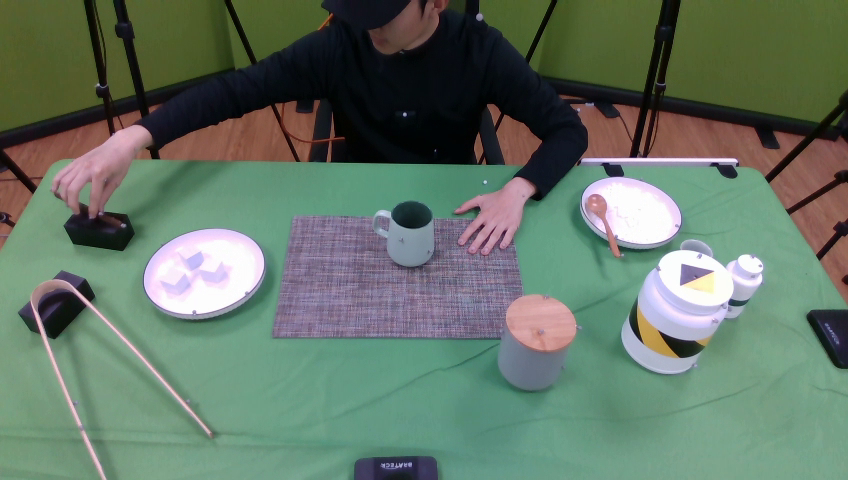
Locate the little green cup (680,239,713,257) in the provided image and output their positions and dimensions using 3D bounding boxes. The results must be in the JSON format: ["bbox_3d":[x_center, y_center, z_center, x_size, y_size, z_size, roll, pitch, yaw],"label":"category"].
[{"bbox_3d":[0.530,0.033,1.189,0.061,0.039,0.061,2,48,-3],"label":"little green cup"}]

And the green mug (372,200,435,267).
[{"bbox_3d":[-0.040,-0.016,1.146,0.125,0.105,0.092,17,48,13],"label":"green mug"}]

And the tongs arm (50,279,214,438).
[{"bbox_3d":[-0.459,0.178,0.949,0.386,0.028,0.028,37,60,17],"label":"tongs arm"}]

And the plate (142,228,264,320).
[{"bbox_3d":[-0.394,0.064,1.095,0.208,0.039,0.206,2,46,-2],"label":"plate"}]

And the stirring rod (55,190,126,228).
[{"bbox_3d":[-0.630,-0.059,1.142,0.175,0.014,0.006,22,44,17],"label":"stirring rod"}]

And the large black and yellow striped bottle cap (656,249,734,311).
[{"bbox_3d":[0.419,0.061,0.938,0.115,0.019,0.114,2,47,-2],"label":"large black and yellow striped bottle cap"}]

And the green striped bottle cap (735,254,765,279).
[{"bbox_3d":[0.566,0.046,1.051,0.044,0.020,0.044,0,45,0],"label":"green striped bottle cap"}]

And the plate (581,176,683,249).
[{"bbox_3d":[0.430,-0.054,1.267,0.209,0.038,0.208,2,46,-2],"label":"plate"}]

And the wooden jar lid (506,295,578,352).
[{"bbox_3d":[0.179,0.130,0.925,0.108,0.021,0.107,2,43,-2],"label":"wooden jar lid"}]

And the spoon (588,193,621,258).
[{"bbox_3d":[0.367,-0.032,1.220,0.041,0.022,0.192,2,38,-1],"label":"spoon"}]

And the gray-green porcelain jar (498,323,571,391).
[{"bbox_3d":[0.176,0.172,0.971,0.106,0.127,0.105,2,46,-2],"label":"gray-green porcelain jar"}]

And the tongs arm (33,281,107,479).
[{"bbox_3d":[-0.517,0.214,0.910,0.051,0.026,0.383,-28,63,-27],"label":"tongs arm"}]

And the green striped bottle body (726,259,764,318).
[{"bbox_3d":[0.563,0.081,1.089,0.063,0.120,0.063,2,46,-2],"label":"green striped bottle body"}]

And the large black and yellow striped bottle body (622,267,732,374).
[{"bbox_3d":[0.415,0.119,0.997,0.131,0.185,0.130,2,46,-2],"label":"large black and yellow striped bottle body"}]
